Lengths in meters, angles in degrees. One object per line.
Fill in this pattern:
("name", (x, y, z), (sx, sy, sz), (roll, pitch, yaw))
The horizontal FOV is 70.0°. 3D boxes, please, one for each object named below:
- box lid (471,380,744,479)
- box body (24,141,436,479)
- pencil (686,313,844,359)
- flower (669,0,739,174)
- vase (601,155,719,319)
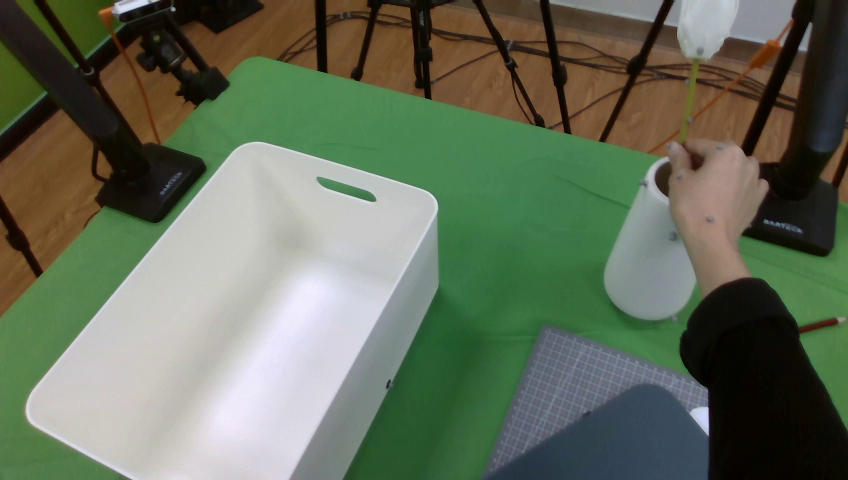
("box lid", (0.150, 0.311, 0.550), (0.372, 0.015, 0.260), (-27, 57, -13))
("box body", (-0.162, 0.097, 0.640), (0.253, 0.162, 0.362), (18, 58, 17))
("pencil", (0.386, 0.106, 0.681), (0.194, 0.012, 0.012), (-13, 54, -7))
("flower", (0.242, -0.060, 0.593), (0.044, 0.365, 0.038), (12, 39, 20))
("vase", (0.251, 0.001, 0.651), (0.098, 0.202, 0.097), (-3, 52, 4))
